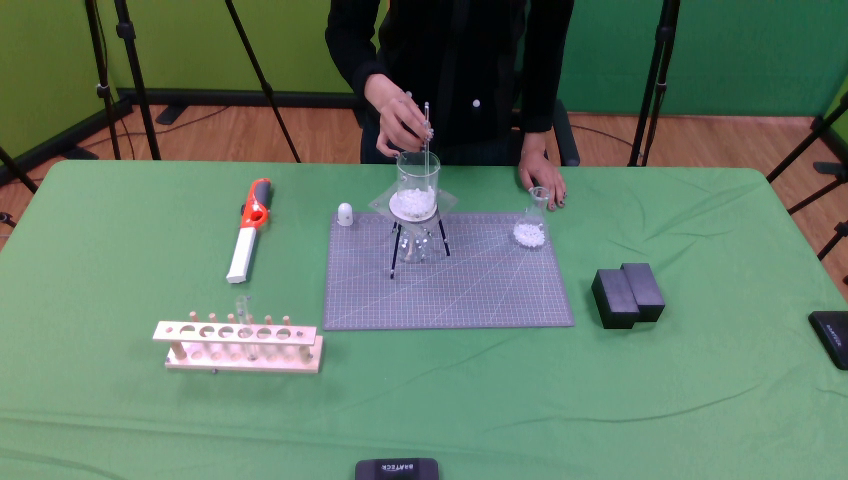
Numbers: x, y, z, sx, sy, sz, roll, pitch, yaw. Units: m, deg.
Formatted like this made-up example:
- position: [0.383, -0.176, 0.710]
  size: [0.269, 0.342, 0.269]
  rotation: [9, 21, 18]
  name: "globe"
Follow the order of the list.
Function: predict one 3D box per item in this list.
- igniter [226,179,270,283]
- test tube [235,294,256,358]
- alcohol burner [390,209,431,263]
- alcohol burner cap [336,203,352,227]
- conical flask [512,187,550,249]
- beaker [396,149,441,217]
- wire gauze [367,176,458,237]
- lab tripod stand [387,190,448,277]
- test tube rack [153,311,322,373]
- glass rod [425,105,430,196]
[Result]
- position: [-0.345, -0.027, 1.195]
  size: [0.057, 0.025, 0.274]
  rotation: [-6, 46, 5]
  name: "igniter"
- position: [-0.274, 0.136, 0.933]
  size: [0.017, 0.151, 0.017]
  rotation: [4, 46, -4]
  name: "test tube"
- position: [-0.024, -0.014, 1.144]
  size: [0.078, 0.119, 0.077]
  rotation: [4, 45, -3]
  name: "alcohol burner"
- position: [-0.162, -0.053, 1.221]
  size: [0.034, 0.048, 0.033]
  rotation: [2, 46, -2]
  name: "alcohol burner cap"
- position: [0.217, -0.048, 1.190]
  size: [0.075, 0.122, 0.075]
  rotation: [2, 46, -2]
  name: "conical flask"
- position: [-0.015, -0.098, 1.054]
  size: [0.074, 0.101, 0.083]
  rotation: [-31, 55, -31]
  name: "beaker"
- position: [-0.020, -0.066, 1.089]
  size: [0.124, 0.011, 0.121]
  rotation: [27, 47, 22]
  name: "wire gauze"
- position: [-0.021, -0.018, 1.135]
  size: [0.148, 0.132, 0.147]
  rotation: [3, 44, -3]
  name: "lab tripod stand"
- position: [-0.293, 0.160, 0.978]
  size: [0.242, 0.085, 0.066]
  rotation: [3, 46, -2]
  name: "test tube rack"
- position: [0.006, -0.144, 1.019]
  size: [0.008, 0.201, 0.008]
  rotation: [-1, 49, 1]
  name: "glass rod"
